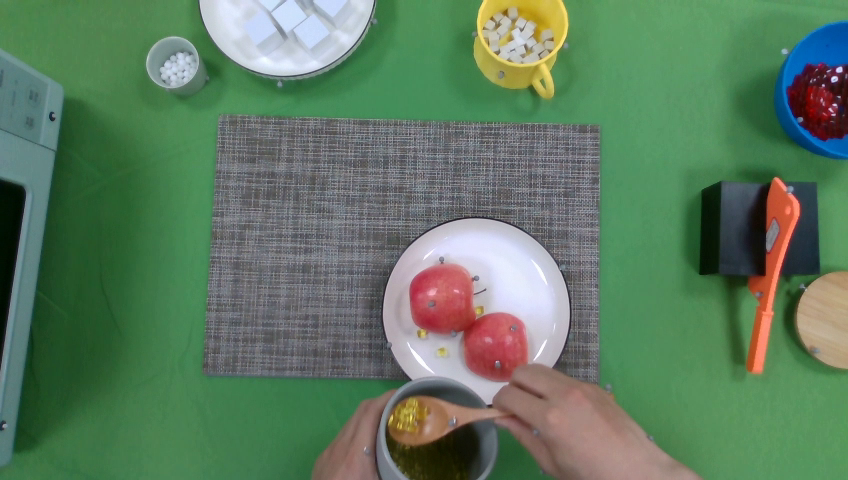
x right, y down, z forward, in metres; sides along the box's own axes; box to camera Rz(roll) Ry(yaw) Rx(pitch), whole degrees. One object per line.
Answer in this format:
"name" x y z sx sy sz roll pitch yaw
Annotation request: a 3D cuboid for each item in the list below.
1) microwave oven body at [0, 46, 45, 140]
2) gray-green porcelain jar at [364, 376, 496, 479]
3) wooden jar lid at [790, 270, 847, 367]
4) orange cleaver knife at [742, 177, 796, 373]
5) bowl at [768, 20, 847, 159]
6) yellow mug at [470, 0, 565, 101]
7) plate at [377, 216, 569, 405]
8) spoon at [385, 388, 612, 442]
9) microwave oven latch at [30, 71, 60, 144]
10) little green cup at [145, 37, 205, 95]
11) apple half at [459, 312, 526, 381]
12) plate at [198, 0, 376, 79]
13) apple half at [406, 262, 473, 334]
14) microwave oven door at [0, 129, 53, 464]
"microwave oven body" -0.604 0.001 0.581 0.326 0.260 0.440 5 85 1
"gray-green porcelain jar" 0.001 0.203 0.567 0.106 0.127 0.105 7 49 -8
"wooden jar lid" 0.464 0.088 0.681 0.108 0.021 0.108 0 85 2
"orange cleaver knife" 0.364 0.040 0.656 0.012 0.077 0.212 3 108 5
"bowl" 0.449 -0.156 0.675 0.151 0.077 0.151 0 85 1
"yellow mug" 0.112 -0.219 0.693 0.100 0.064 0.130 -27 85 -2
"plate" 0.053 0.077 0.675 0.209 0.038 0.208 0 85 1
"spoon" 0.061 0.145 0.516 0.193 0.022 0.041 -10 80 14
"microwave oven latch" -0.440 -0.151 0.690 0.030 0.029 0.079 8 85 1
"little green cup" -0.288 -0.200 0.709 0.061 0.038 0.061 0 85 0
"apple half" 0.076 0.117 0.665 0.081 0.033 0.081 0 81 1
"plate" -0.158 -0.288 0.717 0.208 0.039 0.207 0 85 1
"apple half" 0.016 0.063 0.662 0.074 0.053 0.080 -1 85 3
"microwave oven door" -0.463 0.056 0.569 0.039 0.244 0.355 5 84 2
